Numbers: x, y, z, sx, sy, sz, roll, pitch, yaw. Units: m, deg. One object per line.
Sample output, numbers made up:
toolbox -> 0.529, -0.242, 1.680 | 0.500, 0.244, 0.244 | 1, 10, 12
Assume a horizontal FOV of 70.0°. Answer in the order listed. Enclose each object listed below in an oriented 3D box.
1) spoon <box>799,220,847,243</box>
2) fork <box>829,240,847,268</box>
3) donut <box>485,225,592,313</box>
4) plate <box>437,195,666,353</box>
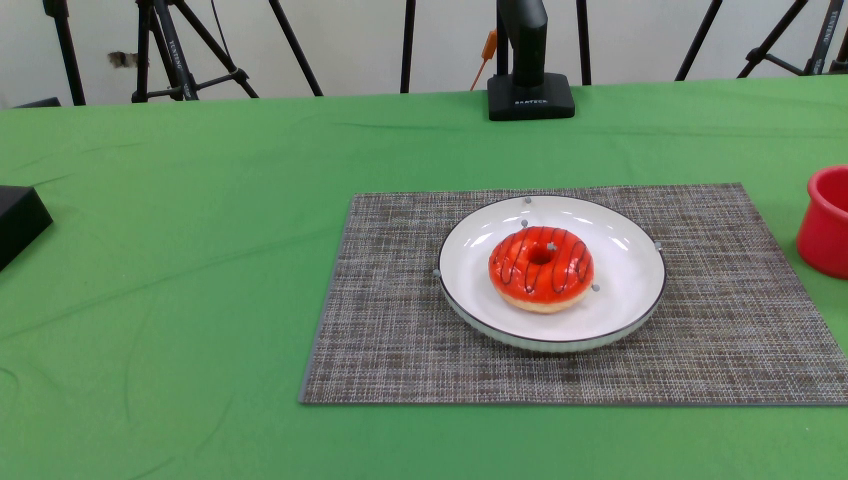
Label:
spoon -> 0.417, -0.019, 0.527 | 0.041, 0.193, 0.021 | -29, 90, -17
fork -> 0.448, -0.061, 0.563 | 0.019, 0.207, 0.028 | 28, 6, -16
donut -> 0.107, 0.026, 0.566 | 0.099, 0.049, 0.098 | -4, 42, 4
plate -> 0.117, 0.031, 0.576 | 0.209, 0.038, 0.207 | -3, 39, 3
